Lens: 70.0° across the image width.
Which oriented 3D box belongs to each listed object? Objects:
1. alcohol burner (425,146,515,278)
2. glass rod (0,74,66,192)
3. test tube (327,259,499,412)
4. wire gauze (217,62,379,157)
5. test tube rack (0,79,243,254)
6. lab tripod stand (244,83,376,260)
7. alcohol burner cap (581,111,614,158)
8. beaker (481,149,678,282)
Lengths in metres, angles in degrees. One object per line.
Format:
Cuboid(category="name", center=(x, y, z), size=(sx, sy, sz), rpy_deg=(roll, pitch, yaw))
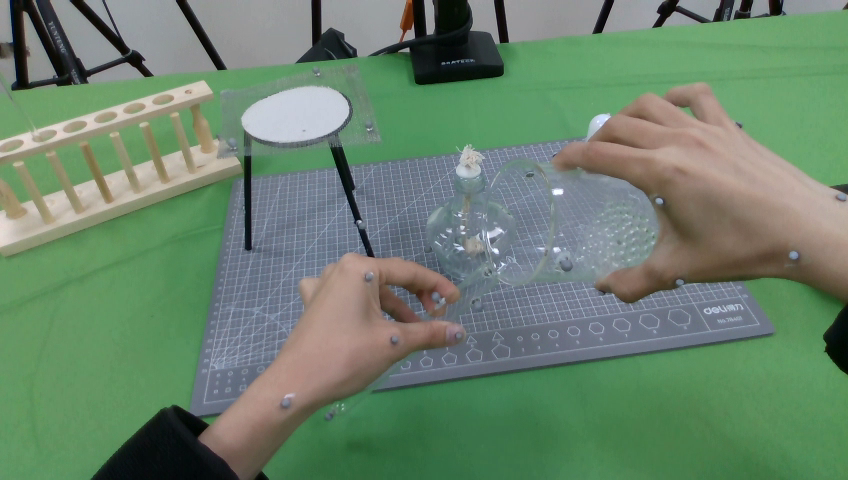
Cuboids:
Cuboid(category="alcohol burner", center=(0.038, -0.026, 0.509), size=(0.078, 0.120, 0.077), rpy_deg=(-3, 41, 3))
Cuboid(category="glass rod", center=(-0.376, -0.115, 0.566), size=(0.008, 0.201, 0.008), rpy_deg=(-2, 46, 2))
Cuboid(category="test tube", center=(-0.011, 0.065, 0.394), size=(0.150, 0.017, 0.017), rpy_deg=(-43, 42, 16))
Cuboid(category="wire gauze", center=(-0.107, -0.108, 0.495), size=(0.125, 0.011, 0.120), rpy_deg=(-12, 43, -7))
Cuboid(category="test tube rack", center=(-0.324, -0.081, 0.623), size=(0.243, 0.086, 0.066), rpy_deg=(-24, 46, -20))
Cuboid(category="lab tripod stand", center=(-0.103, -0.059, 0.541), size=(0.148, 0.133, 0.147), rpy_deg=(-3, 44, 3))
Cuboid(category="alcohol burner cap", center=(0.187, -0.115, 0.647), size=(0.034, 0.048, 0.033), rpy_deg=(-2, 42, 2))
Cuboid(category="beaker", center=(0.094, -0.010, 0.369), size=(0.101, 0.084, 0.073), rpy_deg=(1, 44, -25))
